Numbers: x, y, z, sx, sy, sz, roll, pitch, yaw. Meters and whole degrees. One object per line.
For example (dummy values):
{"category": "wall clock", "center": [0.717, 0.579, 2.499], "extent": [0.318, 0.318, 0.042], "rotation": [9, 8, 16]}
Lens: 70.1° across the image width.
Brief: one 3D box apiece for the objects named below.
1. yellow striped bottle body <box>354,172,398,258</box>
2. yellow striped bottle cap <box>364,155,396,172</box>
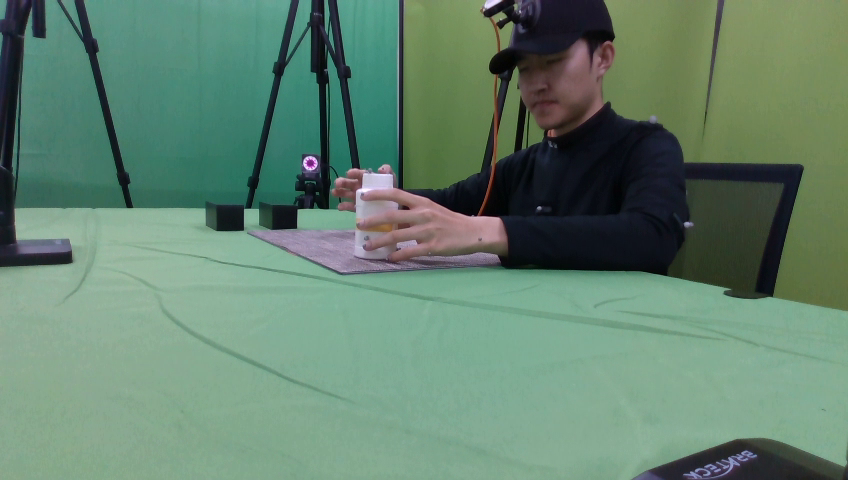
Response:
{"category": "yellow striped bottle body", "center": [-0.069, -0.037, 0.872], "extent": [0.063, 0.120, 0.063], "rotation": [2, 7, 0]}
{"category": "yellow striped bottle cap", "center": [-0.063, -0.109, 0.859], "extent": [0.044, 0.018, 0.044], "rotation": [10, 6, -1]}
